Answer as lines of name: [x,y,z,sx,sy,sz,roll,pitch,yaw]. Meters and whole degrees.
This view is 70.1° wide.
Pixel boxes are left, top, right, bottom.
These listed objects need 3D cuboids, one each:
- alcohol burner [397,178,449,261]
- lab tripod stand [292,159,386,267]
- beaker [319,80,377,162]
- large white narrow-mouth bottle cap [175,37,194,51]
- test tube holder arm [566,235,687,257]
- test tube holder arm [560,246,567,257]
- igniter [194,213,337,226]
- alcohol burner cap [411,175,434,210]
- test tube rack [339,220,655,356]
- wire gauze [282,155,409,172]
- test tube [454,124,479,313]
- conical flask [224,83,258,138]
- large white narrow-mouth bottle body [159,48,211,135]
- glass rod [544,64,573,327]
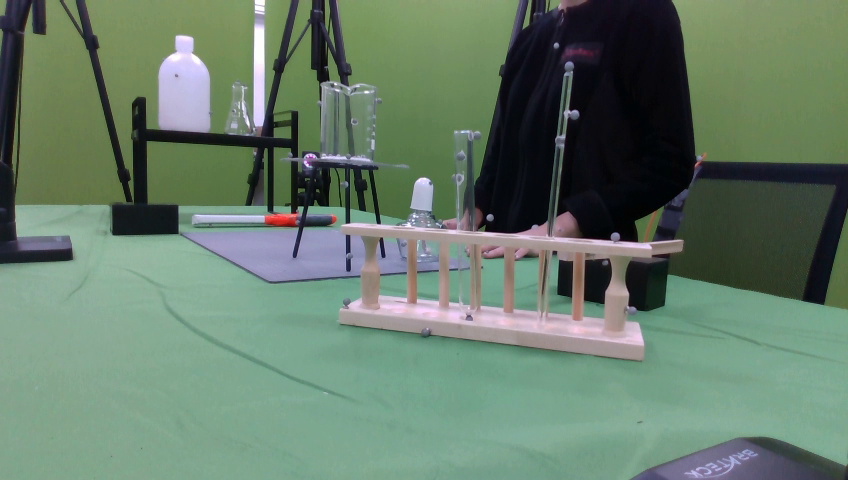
alcohol burner: [-0.002,-0.031,0.846,0.078,0.119,0.078,0,6,0]
lab tripod stand: [-0.105,-0.039,0.797,0.148,0.131,0.148,2,5,0]
beaker: [-0.098,-0.150,0.777,0.074,0.100,0.084,1,7,-8]
large white narrow-mouth bottle cap: [-0.501,-0.409,1.264,0.038,0.024,0.037,2,7,0]
test tube holder arm: [0.215,0.006,0.630,0.179,0.015,0.013,-3,9,-31]
test tube holder arm: [0.173,0.007,0.611,0.088,0.015,0.010,-3,9,-30]
igniter: [-0.306,-0.041,1.197,0.278,0.025,0.057,-2,-2,-30]
alcohol burner cap: [0.000,-0.067,0.842,0.034,0.048,0.034,7,8,-1]
test tube rack: [0.056,0.032,0.495,0.242,0.085,0.067,4,7,15]
wire gauze: [-0.104,-0.103,0.785,0.126,0.011,0.121,1,8,-39]
test tube: [0.034,-0.015,0.477,0.017,0.150,0.017,-2,9,1]
conical flask: [-0.422,-0.299,1.395,0.075,0.122,0.075,2,7,0]
large white narrow-mouth bottle body: [-0.503,-0.323,1.275,0.102,0.194,0.102,2,7,0]
glass rod: [0.101,-0.028,0.453,0.008,0.199,0.008,2,13,0]
